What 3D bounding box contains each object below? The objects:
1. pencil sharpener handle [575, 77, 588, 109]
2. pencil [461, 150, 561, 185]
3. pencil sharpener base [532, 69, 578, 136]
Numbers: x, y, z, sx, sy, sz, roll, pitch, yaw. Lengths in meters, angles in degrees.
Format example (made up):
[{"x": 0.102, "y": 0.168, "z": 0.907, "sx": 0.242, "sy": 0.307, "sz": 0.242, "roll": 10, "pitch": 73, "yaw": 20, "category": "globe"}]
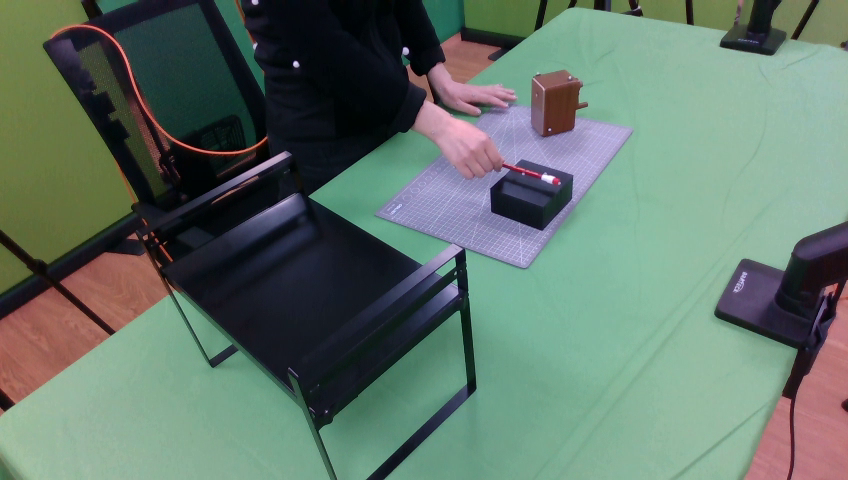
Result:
[{"x": 0.304, "y": -0.289, "z": 1.177, "sx": 0.031, "sy": 0.068, "sz": 0.035, "roll": -15, "pitch": 33, "yaw": -8, "category": "pencil sharpener handle"}, {"x": 0.140, "y": -0.124, "z": 1.006, "sx": 0.192, "sy": 0.012, "sz": 0.012, "roll": 23, "pitch": 49, "yaw": 31, "category": "pencil"}, {"x": 0.256, "y": -0.268, "z": 1.179, "sx": 0.077, "sy": 0.107, "sz": 0.061, "roll": -15, "pitch": 41, "yaw": -9, "category": "pencil sharpener base"}]
